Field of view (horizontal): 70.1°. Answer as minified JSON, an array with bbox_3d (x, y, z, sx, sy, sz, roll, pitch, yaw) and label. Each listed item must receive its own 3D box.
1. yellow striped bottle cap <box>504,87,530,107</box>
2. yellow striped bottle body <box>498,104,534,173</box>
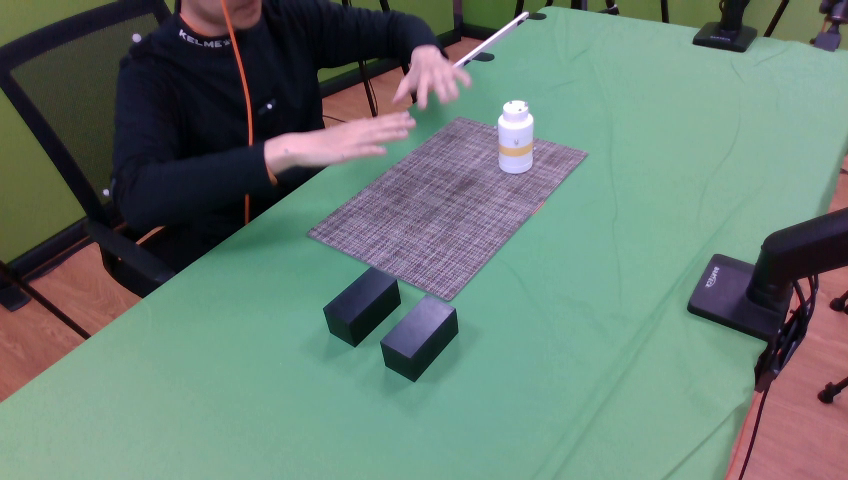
[{"bbox_3d":[0.159,-0.244,1.033,0.044,0.019,0.044,-7,34,5],"label":"yellow striped bottle cap"},{"bbox_3d":[0.164,-0.186,1.078,0.063,0.121,0.062,-4,41,4],"label":"yellow striped bottle body"}]
